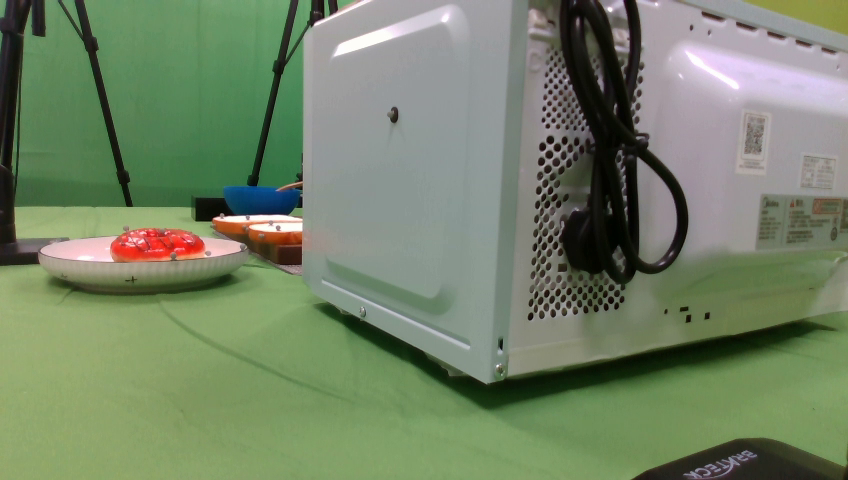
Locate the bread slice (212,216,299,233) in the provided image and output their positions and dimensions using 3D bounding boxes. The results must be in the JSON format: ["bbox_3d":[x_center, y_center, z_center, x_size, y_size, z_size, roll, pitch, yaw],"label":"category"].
[{"bbox_3d":[-0.256,-0.025,0.936,0.132,0.019,0.104,-4,8,-40],"label":"bread slice"}]

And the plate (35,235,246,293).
[{"bbox_3d":[-0.305,0.026,0.668,0.208,0.039,0.207,2,7,0],"label":"plate"}]

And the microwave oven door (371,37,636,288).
[{"bbox_3d":[0.109,-0.080,0.687,0.358,0.243,0.039,-2,9,-33],"label":"microwave oven door"}]

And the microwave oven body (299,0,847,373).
[{"bbox_3d":[0.152,-0.055,0.543,0.444,0.260,0.324,-2,7,-33],"label":"microwave oven body"}]

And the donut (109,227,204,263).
[{"bbox_3d":[-0.298,0.013,0.679,0.099,0.048,0.099,4,10,0],"label":"donut"}]

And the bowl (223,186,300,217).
[{"bbox_3d":[-0.330,-0.068,1.230,0.151,0.077,0.151,3,7,0],"label":"bowl"}]

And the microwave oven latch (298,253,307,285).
[{"bbox_3d":[-0.081,0.027,0.582,0.079,0.029,0.030,-1,7,-32],"label":"microwave oven latch"}]

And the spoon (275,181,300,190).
[{"bbox_3d":[-0.301,-0.102,1.260,0.041,0.021,0.194,12,30,33],"label":"spoon"}]

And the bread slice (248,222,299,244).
[{"bbox_3d":[-0.174,-0.012,0.844,0.135,0.018,0.106,-6,10,-44],"label":"bread slice"}]
